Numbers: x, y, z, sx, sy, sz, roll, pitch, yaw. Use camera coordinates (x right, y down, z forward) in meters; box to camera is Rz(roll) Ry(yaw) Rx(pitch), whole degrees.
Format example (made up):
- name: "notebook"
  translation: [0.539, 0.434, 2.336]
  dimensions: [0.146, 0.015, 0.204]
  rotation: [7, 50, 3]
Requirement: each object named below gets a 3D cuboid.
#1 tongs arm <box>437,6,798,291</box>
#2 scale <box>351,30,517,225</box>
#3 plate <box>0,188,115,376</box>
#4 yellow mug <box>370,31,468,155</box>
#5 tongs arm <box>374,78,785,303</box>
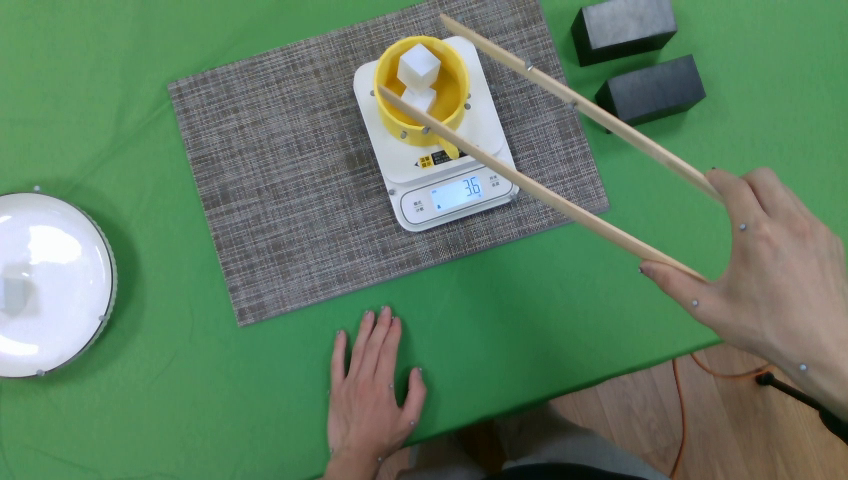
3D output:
- name: "tongs arm"
  translation: [0.131, -0.094, 0.500]
  dimensions: [0.381, 0.027, 0.051]
  rotation: [40, 87, 28]
- name: "scale"
  translation: [0.012, -0.129, 0.694]
  dimensions: [0.149, 0.031, 0.200]
  rotation: [-18, 86, -1]
- name: "plate"
  translation: [-0.449, 0.047, 0.683]
  dimensions: [0.208, 0.039, 0.207]
  rotation: [0, 85, 0]
- name: "yellow mug"
  translation: [0.002, -0.150, 0.649]
  dimensions: [0.100, 0.064, 0.130]
  rotation: [-28, 87, -3]
- name: "tongs arm"
  translation: [0.096, -0.054, 0.499]
  dimensions: [0.384, 0.028, 0.028]
  rotation: [35, 81, 27]
